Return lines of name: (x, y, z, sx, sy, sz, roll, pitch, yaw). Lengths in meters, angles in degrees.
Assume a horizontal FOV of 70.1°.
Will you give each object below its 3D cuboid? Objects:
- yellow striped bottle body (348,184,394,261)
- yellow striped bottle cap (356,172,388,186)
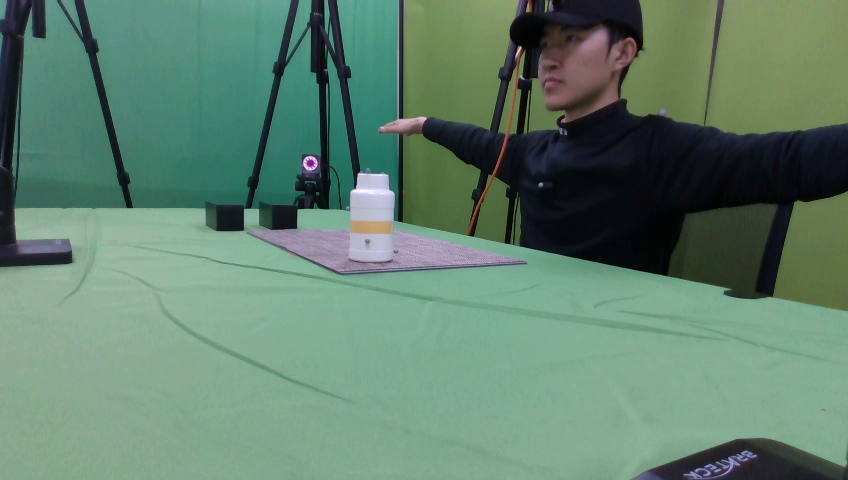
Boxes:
yellow striped bottle body: (-0.073, -0.034, 0.845, 0.063, 0.120, 0.063, 2, 7, 0)
yellow striped bottle cap: (-0.072, -0.085, 0.839, 0.044, 0.018, 0.044, 2, 9, 0)
